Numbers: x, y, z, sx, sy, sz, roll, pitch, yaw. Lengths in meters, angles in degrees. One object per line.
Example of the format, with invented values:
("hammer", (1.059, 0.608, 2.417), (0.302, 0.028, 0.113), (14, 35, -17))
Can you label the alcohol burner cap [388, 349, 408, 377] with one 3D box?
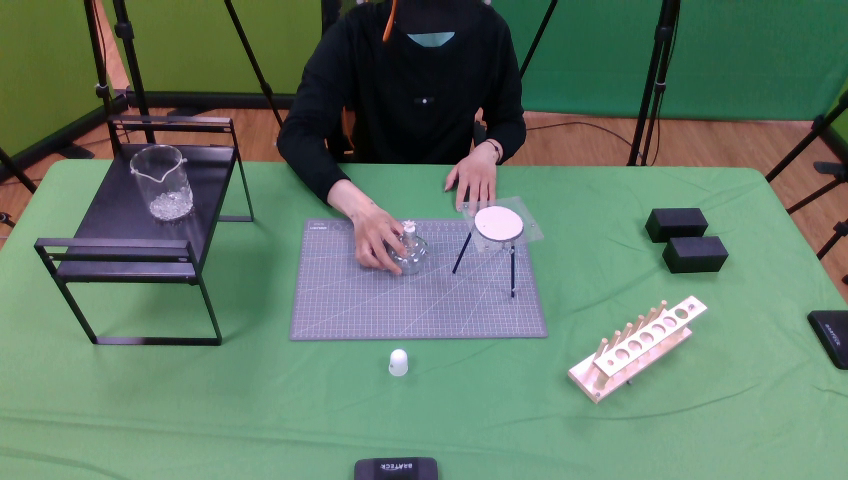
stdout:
("alcohol burner cap", (-0.042, 0.197, 0.989), (0.034, 0.048, 0.033), (2, 46, -2))

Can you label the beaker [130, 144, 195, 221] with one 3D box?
("beaker", (-0.403, -0.085, 0.944), (0.074, 0.101, 0.083), (-15, 50, -17))

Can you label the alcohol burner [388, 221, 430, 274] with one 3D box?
("alcohol burner", (-0.027, 0.007, 1.118), (0.078, 0.119, 0.077), (2, 49, -2))

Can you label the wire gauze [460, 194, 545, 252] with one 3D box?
("wire gauze", (0.135, -0.035, 1.061), (0.121, 0.011, 0.124), (-9, 47, -12))

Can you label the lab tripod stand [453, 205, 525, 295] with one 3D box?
("lab tripod stand", (0.131, 0.010, 1.111), (0.148, 0.132, 0.147), (1, 45, -1))

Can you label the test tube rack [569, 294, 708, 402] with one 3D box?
("test tube rack", (0.360, 0.167, 1.014), (0.242, 0.085, 0.066), (-25, 53, -25))
